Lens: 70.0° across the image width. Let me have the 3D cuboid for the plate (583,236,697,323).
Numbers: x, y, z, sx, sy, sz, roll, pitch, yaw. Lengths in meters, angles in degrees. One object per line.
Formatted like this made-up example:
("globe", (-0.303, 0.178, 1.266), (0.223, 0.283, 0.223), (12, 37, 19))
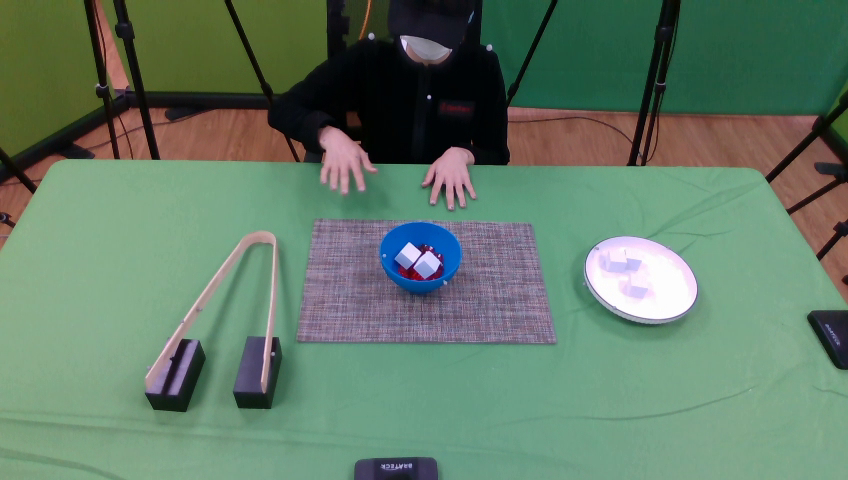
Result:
("plate", (0.403, 0.078, 1.144), (0.209, 0.038, 0.208), (2, 45, -2))

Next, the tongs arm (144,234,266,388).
("tongs arm", (-0.353, 0.101, 1.022), (0.051, 0.026, 0.383), (5, 34, 5))

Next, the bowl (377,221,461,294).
("bowl", (-0.010, 0.045, 1.109), (0.151, 0.077, 0.150), (2, 46, -2))

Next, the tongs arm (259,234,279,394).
("tongs arm", (-0.265, 0.106, 1.024), (0.028, 0.028, 0.385), (-7, 35, -6))
